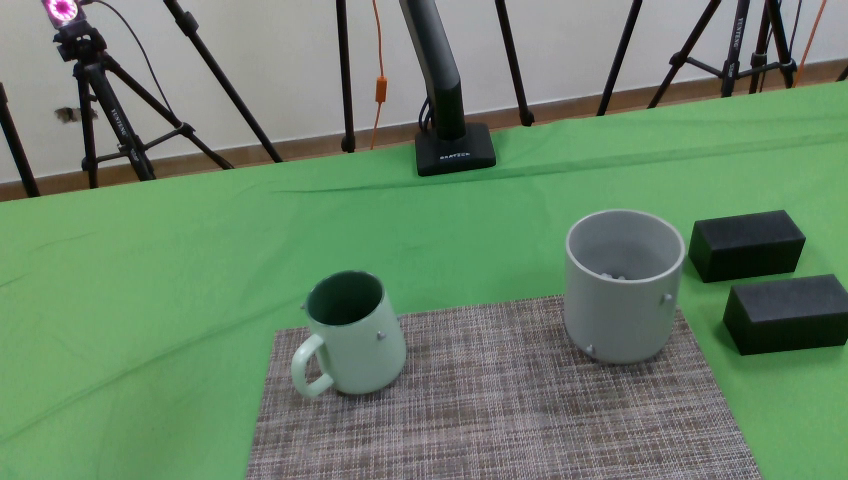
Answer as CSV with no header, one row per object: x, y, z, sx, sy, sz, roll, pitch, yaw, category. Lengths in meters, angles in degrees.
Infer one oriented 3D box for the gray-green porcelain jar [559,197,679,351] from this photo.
0.187,0.038,0.596,0.106,0.128,0.105,-6,41,5,gray-green porcelain jar

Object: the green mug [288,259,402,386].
-0.084,0.092,0.605,0.092,0.106,0.125,23,51,32,green mug
